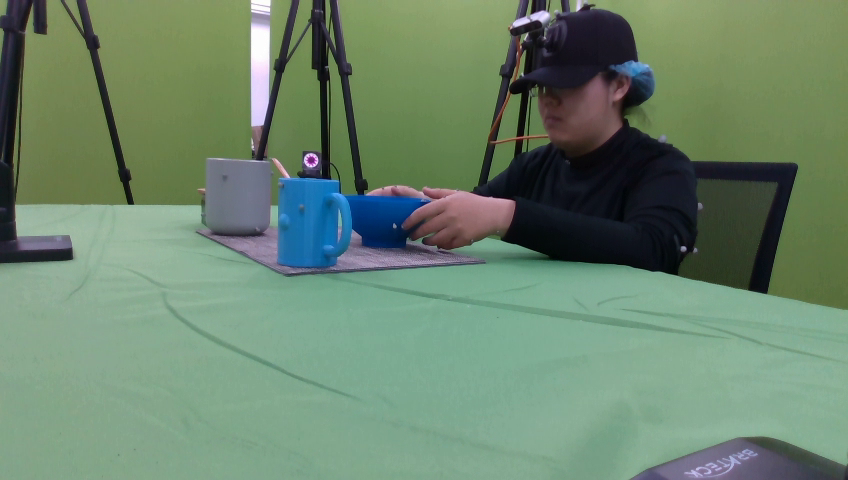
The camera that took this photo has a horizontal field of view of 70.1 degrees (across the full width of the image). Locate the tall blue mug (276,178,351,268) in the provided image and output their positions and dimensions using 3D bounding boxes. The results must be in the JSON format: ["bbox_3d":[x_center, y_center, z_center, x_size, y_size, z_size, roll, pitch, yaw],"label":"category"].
[{"bbox_3d":[-0.133,-0.022,0.766,0.107,0.108,0.078,4,6,12],"label":"tall blue mug"}]

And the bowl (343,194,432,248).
[{"bbox_3d":[-0.064,-0.031,0.981,0.151,0.077,0.151,3,7,0],"label":"bowl"}]

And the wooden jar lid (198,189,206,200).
[{"bbox_3d":[-0.382,-0.088,1.175,0.108,0.020,0.108,3,8,0],"label":"wooden jar lid"}]

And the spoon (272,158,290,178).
[{"bbox_3d":[-0.268,-0.103,1.236,0.042,0.193,0.021,-10,-32,-39],"label":"spoon"}]

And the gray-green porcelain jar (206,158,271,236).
[{"bbox_3d":[-0.316,-0.074,1.031,0.106,0.126,0.106,3,7,0],"label":"gray-green porcelain jar"}]
